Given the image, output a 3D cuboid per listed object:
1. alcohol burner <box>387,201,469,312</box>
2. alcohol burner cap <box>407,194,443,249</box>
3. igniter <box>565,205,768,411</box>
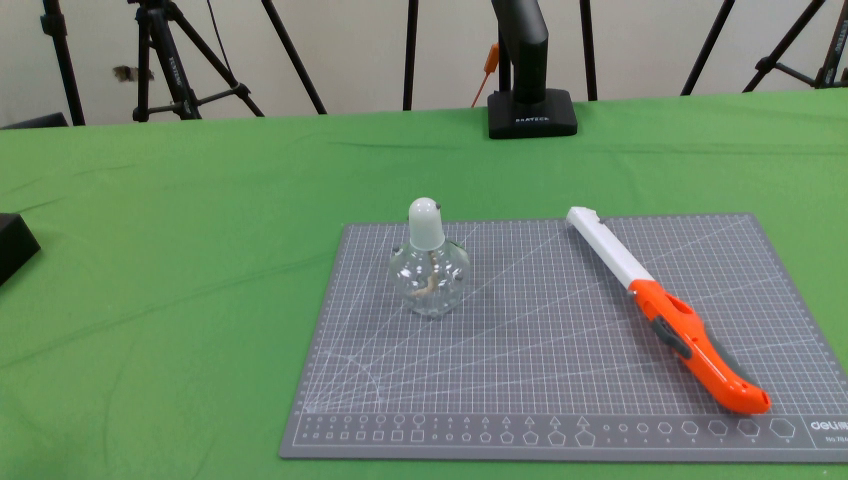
[{"bbox_3d":[0.003,0.010,0.558,0.078,0.120,0.077,-2,40,2],"label":"alcohol burner"},{"bbox_3d":[0.000,-0.019,0.536,0.034,0.048,0.033,-2,42,2],"label":"alcohol burner cap"},{"bbox_3d":[0.204,0.047,0.551,0.057,0.025,0.273,5,32,-22],"label":"igniter"}]
